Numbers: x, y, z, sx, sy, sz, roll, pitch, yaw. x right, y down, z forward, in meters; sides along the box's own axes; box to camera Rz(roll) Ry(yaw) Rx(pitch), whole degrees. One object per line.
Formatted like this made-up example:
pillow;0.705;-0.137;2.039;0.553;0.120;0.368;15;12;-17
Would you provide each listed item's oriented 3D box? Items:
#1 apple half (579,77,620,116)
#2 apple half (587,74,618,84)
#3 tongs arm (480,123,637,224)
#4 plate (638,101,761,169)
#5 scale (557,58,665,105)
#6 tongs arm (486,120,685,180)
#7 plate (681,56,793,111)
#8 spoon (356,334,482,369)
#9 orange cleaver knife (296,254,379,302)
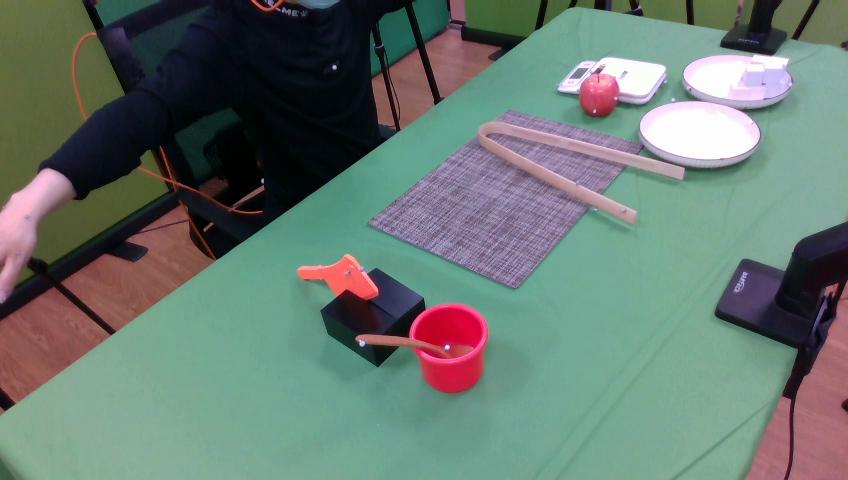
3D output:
apple half;0.348;-0.285;1.218;0.080;0.075;0.053;17;49;22
apple half;0.366;-0.310;1.243;0.081;0.081;0.033;15;49;24
tongs arm;0.228;-0.128;1.080;0.051;0.026;0.381;-33;46;-26
plate;0.500;-0.189;1.111;0.209;0.038;0.208;-4;41;4
scale;0.407;-0.348;1.314;0.199;0.032;0.149;19;47;28
tongs arm;0.287;-0.171;1.123;0.384;0.028;0.028;21;52;29
plate;0.636;-0.317;1.239;0.207;0.039;0.206;-4;40;4
spoon;-0.001;0.130;0.731;0.195;0.021;0.041;21;27;-39
orange cleaver knife;-0.129;0.059;0.874;0.012;0.077;0.210;-39;16;-30
